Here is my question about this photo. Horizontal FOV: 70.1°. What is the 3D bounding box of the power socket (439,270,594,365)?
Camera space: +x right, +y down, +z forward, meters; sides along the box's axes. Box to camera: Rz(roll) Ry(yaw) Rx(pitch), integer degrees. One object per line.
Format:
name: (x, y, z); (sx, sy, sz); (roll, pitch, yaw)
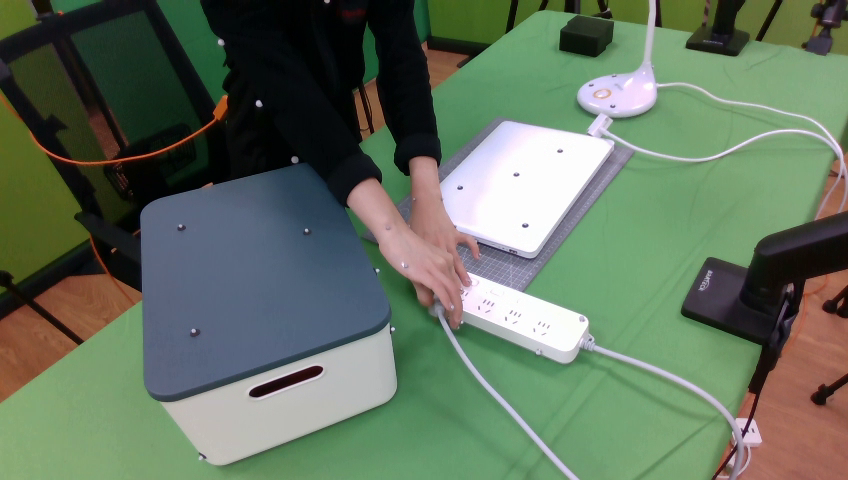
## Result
power socket: (0.118, 0.102, 0.830); (0.225, 0.033, 0.072); (21, 49, 29)

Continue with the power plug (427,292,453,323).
power plug: (0.015, 0.098, 0.804); (0.035, 0.053, 0.072); (15, 36, 18)

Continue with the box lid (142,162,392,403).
box lid: (-0.212, 0.024, 0.752); (0.264, 0.015, 0.368); (-17, 41, -13)

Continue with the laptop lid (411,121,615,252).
laptop lid: (0.164, -0.112, 1.068); (0.240, 0.013, 0.357); (19, 46, 31)

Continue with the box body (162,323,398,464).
box body: (-0.205, 0.080, 0.802); (0.255, 0.161, 0.361); (-18, 41, -13)

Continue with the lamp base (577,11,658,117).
lamp base: (0.407, -0.365, 1.223); (0.180, 0.181, 0.159); (-20, 42, -18)

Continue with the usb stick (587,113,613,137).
usb stick: (0.329, -0.210, 1.149); (0.022, 0.059, 0.027); (29, 19, -27)

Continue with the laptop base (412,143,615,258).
laptop base: (0.167, -0.103, 1.074); (0.234, 0.023, 0.355); (16, 45, 30)
